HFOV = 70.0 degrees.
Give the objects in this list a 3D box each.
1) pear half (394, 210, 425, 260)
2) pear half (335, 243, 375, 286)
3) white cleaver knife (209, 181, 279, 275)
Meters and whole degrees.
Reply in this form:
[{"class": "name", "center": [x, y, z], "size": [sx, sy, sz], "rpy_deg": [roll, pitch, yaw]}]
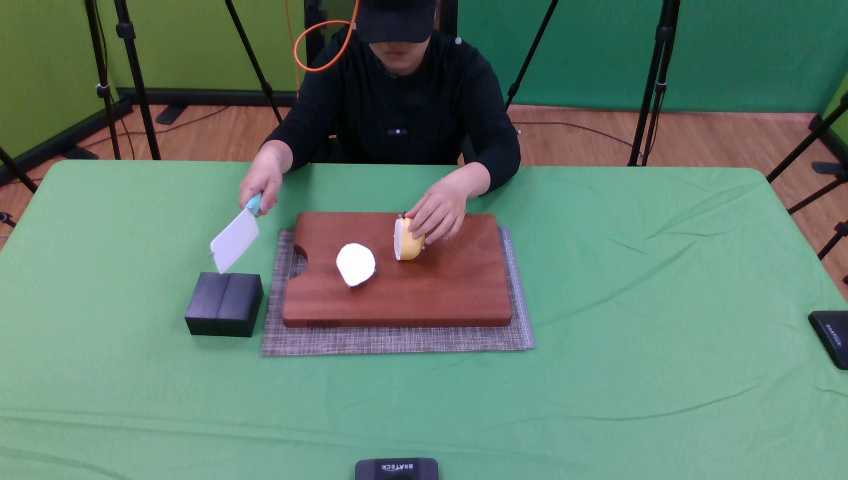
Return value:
[{"class": "pear half", "center": [-0.025, -0.014, 1.111], "size": [0.056, 0.110, 0.076], "rpy_deg": [-9, 51, -13]}, {"class": "pear half", "center": [-0.127, 0.050, 1.093], "size": [0.070, 0.031, 0.087], "rpy_deg": [17, 58, -8]}, {"class": "white cleaver knife", "center": [-0.314, -0.029, 1.074], "size": [0.021, 0.066, 0.285], "rpy_deg": [-3, 27, 12]}]
